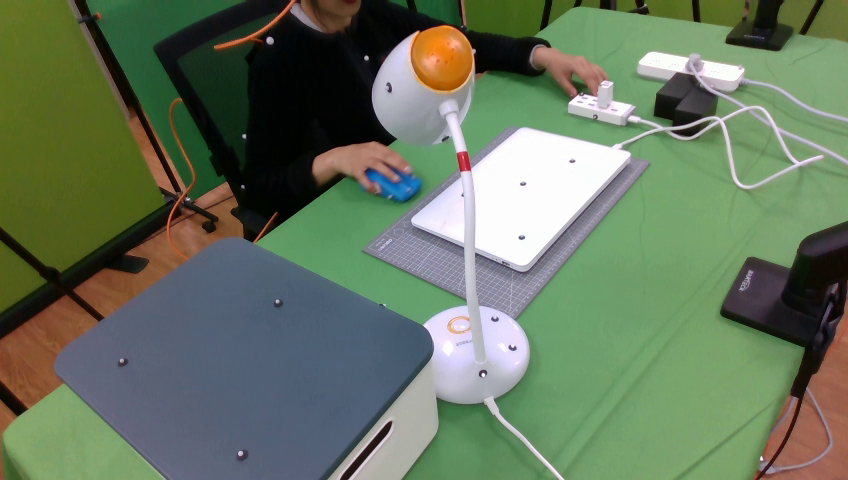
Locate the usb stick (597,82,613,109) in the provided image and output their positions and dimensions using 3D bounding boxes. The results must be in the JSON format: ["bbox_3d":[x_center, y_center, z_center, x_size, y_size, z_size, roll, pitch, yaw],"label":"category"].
[{"bbox_3d":[0.360,-0.281,1.204,0.021,0.059,0.027,23,49,33],"label":"usb stick"}]

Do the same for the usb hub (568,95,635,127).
[{"bbox_3d":[0.360,-0.263,1.228,0.124,0.025,0.049,24,49,34],"label":"usb hub"}]

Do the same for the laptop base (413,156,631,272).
[{"bbox_3d":[0.176,-0.084,1.055,0.233,0.023,0.355,21,48,36],"label":"laptop base"}]

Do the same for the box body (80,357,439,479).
[{"bbox_3d":[-0.189,0.179,0.702,0.361,0.161,0.255,22,49,32],"label":"box body"}]

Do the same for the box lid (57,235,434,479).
[{"bbox_3d":[-0.198,0.123,0.653,0.368,0.015,0.264,22,49,32],"label":"box lid"}]

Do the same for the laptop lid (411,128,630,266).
[{"bbox_3d":[0.172,-0.093,1.049,0.239,0.013,0.358,23,50,36],"label":"laptop lid"}]

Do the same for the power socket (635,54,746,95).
[{"bbox_3d":[0.564,-0.357,1.293,0.225,0.033,0.072,24,51,33],"label":"power socket"}]

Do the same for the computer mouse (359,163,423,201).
[{"bbox_3d":[-0.062,-0.110,1.120,0.116,0.041,0.063,22,46,29],"label":"computer mouse"}]

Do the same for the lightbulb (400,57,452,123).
[{"bbox_3d":[0.003,-0.169,0.669,0.059,0.108,0.059,1,79,-2],"label":"lightbulb"}]

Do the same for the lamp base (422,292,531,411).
[{"bbox_3d":[0.054,0.095,0.740,0.161,0.181,0.177,-19,43,-11],"label":"lamp base"}]

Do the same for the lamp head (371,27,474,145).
[{"bbox_3d":[0.007,-0.167,0.644,0.113,0.112,0.122,-22,2,-14],"label":"lamp head"}]

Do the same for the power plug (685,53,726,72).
[{"bbox_3d":[0.584,-0.361,1.260,0.072,0.053,0.035,14,55,16],"label":"power plug"}]
